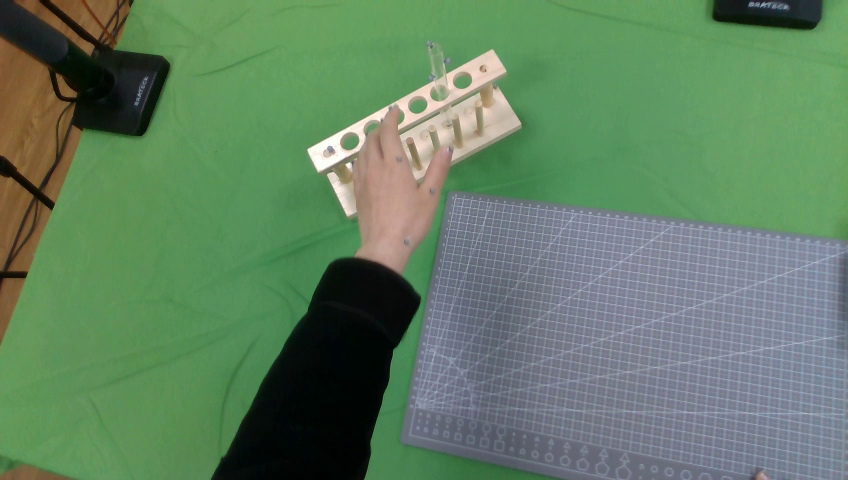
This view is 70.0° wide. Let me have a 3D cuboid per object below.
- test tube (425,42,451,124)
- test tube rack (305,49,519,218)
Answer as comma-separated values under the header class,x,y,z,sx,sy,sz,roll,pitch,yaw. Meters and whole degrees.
class,x,y,z,sx,sy,sz,roll,pitch,yaw
test tube,0.017,-0.170,0.677,0.017,0.151,0.017,-2,73,7
test tube rack,-0.010,-0.122,0.720,0.242,0.086,0.066,-28,71,1
